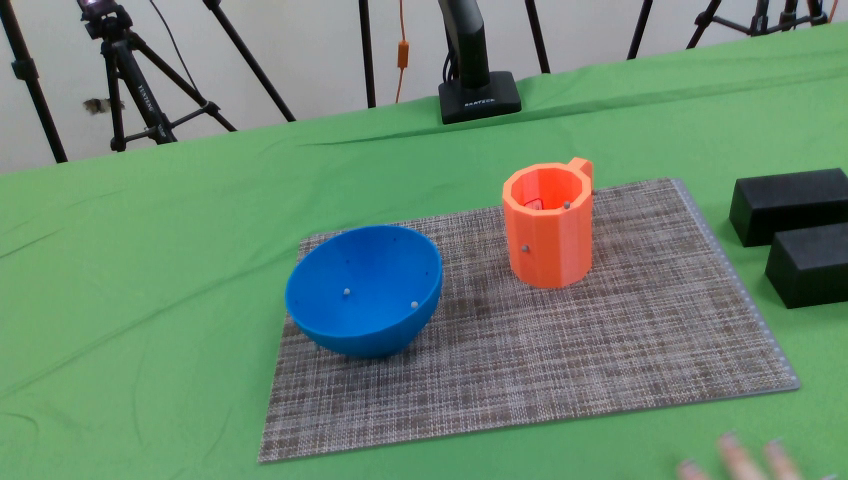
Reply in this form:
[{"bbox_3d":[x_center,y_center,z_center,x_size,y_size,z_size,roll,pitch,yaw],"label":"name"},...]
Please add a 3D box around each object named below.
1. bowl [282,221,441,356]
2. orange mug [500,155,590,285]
[{"bbox_3d":[-0.052,0.059,0.587,0.151,0.077,0.150,-8,40,7],"label":"bowl"},{"bbox_3d":[0.135,-0.029,0.623,0.083,0.102,0.126,22,55,34],"label":"orange mug"}]
